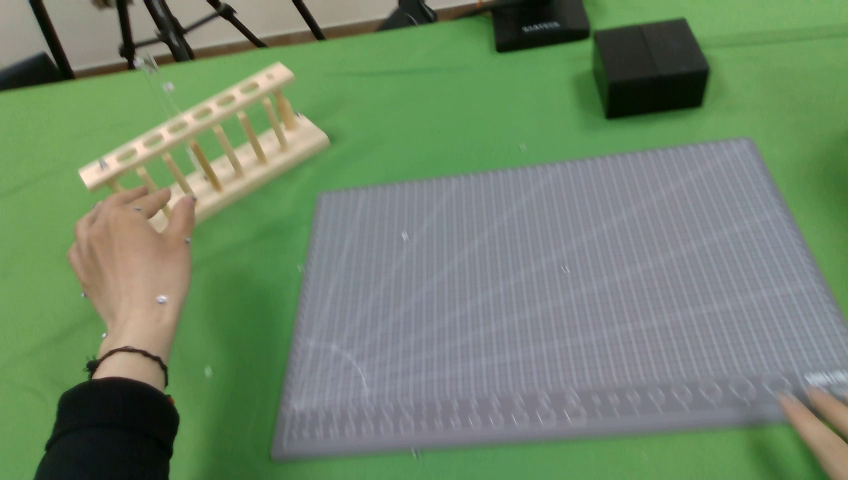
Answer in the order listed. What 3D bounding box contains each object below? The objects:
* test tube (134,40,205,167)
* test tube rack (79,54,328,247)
[{"bbox_3d":[-0.262,-0.139,0.640,0.017,0.152,0.017,-7,44,7],"label":"test tube"},{"bbox_3d":[-0.235,-0.103,0.670,0.242,0.086,0.066,-35,52,-17],"label":"test tube rack"}]
